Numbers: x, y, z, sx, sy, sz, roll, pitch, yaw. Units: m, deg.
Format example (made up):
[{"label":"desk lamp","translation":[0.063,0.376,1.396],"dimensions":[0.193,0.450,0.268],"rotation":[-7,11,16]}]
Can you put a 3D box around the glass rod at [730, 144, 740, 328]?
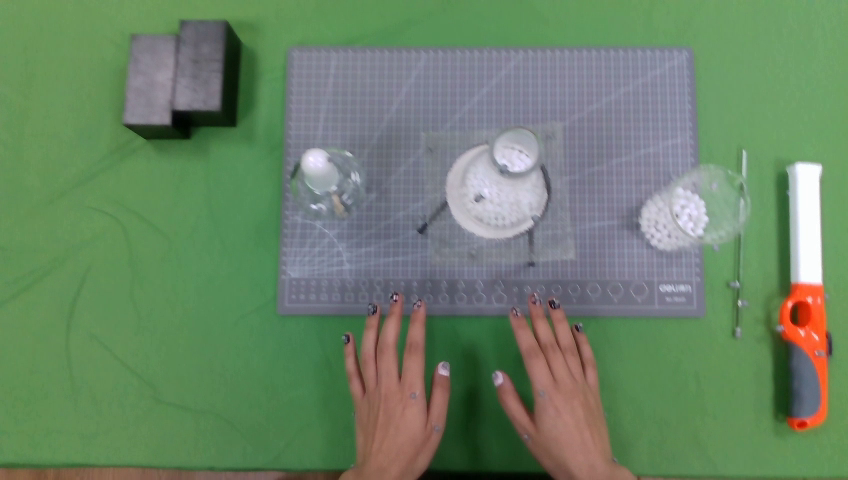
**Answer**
[{"label":"glass rod","translation":[0.332,-0.007,0.646],"dimensions":[0.008,0.008,0.199],"rotation":[4,83,1]}]

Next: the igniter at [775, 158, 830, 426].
[{"label":"igniter","translation":[0.391,0.051,0.628],"dimensions":[0.057,0.025,0.275],"rotation":[4,84,-9]}]

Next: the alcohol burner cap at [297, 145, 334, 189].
[{"label":"alcohol burner cap","translation":[-0.103,-0.071,0.565],"dimensions":[0.034,0.048,0.033],"rotation":[1,74,-2]}]

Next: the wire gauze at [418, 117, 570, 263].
[{"label":"wire gauze","translation":[0.060,-0.042,0.520],"dimensions":[0.125,0.011,0.121],"rotation":[-3,85,-2]}]

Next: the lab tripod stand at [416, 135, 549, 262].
[{"label":"lab tripod stand","translation":[0.061,-0.036,0.586],"dimensions":[0.148,0.132,0.148],"rotation":[0,85,2]}]

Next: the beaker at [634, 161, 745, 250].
[{"label":"beaker","translation":[0.259,-0.032,0.600],"dimensions":[0.084,0.100,0.074],"rotation":[-37,84,-4]}]

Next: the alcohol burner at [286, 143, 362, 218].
[{"label":"alcohol burner","translation":[-0.102,-0.064,0.601],"dimensions":[0.078,0.119,0.077],"rotation":[0,81,1]}]

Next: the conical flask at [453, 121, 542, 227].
[{"label":"conical flask","translation":[0.060,-0.055,0.462],"dimensions":[0.075,0.122,0.075],"rotation":[0,83,2]}]
